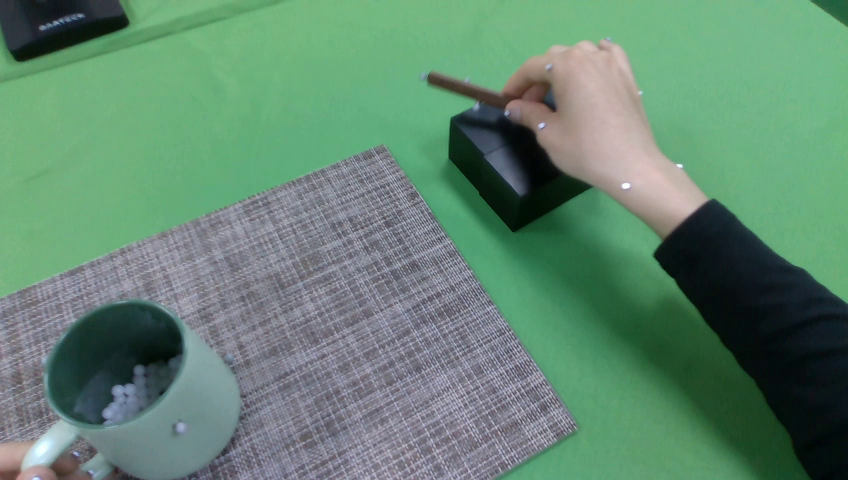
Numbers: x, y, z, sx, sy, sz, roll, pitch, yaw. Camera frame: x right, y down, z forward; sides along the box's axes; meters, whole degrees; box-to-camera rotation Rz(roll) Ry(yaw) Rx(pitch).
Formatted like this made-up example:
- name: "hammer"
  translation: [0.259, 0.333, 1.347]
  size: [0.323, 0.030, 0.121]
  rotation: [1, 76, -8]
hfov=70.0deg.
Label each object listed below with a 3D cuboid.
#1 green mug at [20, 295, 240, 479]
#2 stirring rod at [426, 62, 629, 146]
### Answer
- name: "green mug"
  translation: [-0.182, 0.104, 0.374]
  size: [0.092, 0.106, 0.125]
  rotation: [33, 63, 19]
- name: "stirring rod"
  translation: [0.084, -0.112, 0.500]
  size: [0.176, 0.014, 0.006]
  rotation: [20, 50, 2]
